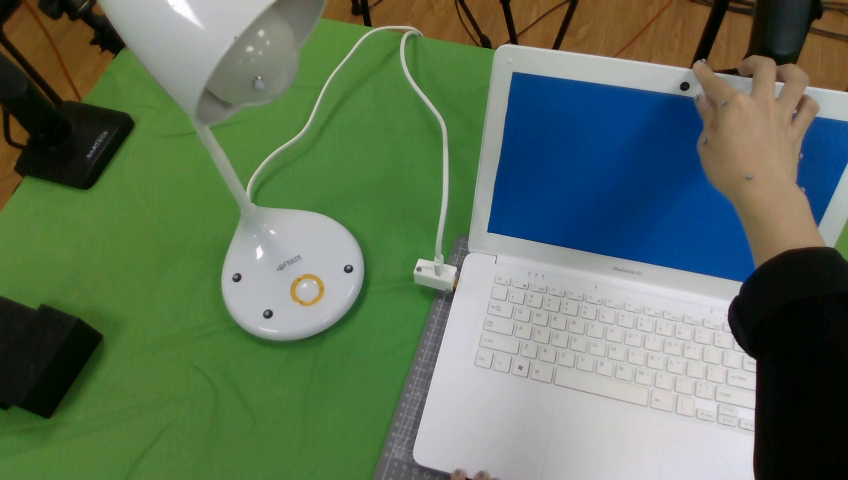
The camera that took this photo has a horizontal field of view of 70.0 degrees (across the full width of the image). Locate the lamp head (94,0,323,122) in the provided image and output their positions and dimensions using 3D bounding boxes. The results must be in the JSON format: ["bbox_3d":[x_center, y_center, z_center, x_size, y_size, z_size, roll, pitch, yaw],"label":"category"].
[{"bbox_3d":[-0.137,-0.145,0.349,0.123,0.112,0.112,40,69,-3],"label":"lamp head"}]

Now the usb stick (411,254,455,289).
[{"bbox_3d":[0.017,0.036,0.663,0.059,0.027,0.021,15,58,8],"label":"usb stick"}]

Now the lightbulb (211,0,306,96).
[{"bbox_3d":[-0.107,-0.135,0.342,0.059,0.059,0.108,-25,101,-9],"label":"lightbulb"}]

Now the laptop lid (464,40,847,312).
[{"bbox_3d":[0.223,-0.056,0.599,0.356,0.243,0.013,10,31,10],"label":"laptop lid"}]

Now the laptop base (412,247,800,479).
[{"bbox_3d":[0.185,0.144,0.607,0.353,0.023,0.234,11,66,10],"label":"laptop base"}]

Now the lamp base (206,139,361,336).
[{"bbox_3d":[-0.165,-0.012,0.624,0.160,0.182,0.177,-41,63,-18],"label":"lamp base"}]
